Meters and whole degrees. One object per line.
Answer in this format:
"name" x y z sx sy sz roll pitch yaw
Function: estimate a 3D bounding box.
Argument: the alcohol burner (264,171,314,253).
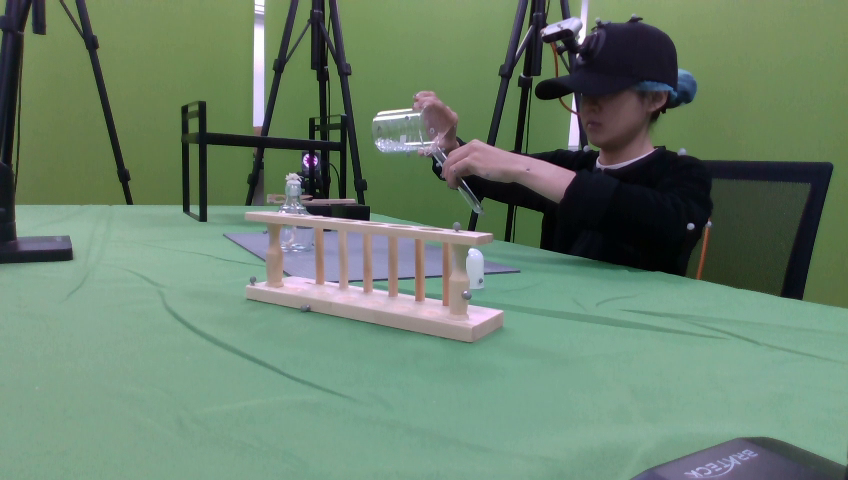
"alcohol burner" -0.194 -0.042 0.888 0.078 0.119 0.078 3 5 0

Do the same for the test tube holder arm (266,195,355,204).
"test tube holder arm" -0.222 -0.081 1.196 0.179 0.013 0.015 -4 3 -30

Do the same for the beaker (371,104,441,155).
"beaker" -0.032 -0.183 1.022 0.100 0.084 0.074 2 -2 29

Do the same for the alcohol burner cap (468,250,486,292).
"alcohol burner cap" 0.056 0.035 0.690 0.034 0.048 0.034 2 7 0

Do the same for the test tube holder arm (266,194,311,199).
"test tube holder arm" -0.262 -0.084 1.173 0.088 0.010 0.015 -3 2 -30

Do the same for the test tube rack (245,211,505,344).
"test tube rack" -0.049 0.025 0.547 0.241 0.085 0.067 7 8 29

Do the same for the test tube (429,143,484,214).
"test tube" 0.052 -0.100 0.972 0.017 0.017 0.149 -5 53 -47
